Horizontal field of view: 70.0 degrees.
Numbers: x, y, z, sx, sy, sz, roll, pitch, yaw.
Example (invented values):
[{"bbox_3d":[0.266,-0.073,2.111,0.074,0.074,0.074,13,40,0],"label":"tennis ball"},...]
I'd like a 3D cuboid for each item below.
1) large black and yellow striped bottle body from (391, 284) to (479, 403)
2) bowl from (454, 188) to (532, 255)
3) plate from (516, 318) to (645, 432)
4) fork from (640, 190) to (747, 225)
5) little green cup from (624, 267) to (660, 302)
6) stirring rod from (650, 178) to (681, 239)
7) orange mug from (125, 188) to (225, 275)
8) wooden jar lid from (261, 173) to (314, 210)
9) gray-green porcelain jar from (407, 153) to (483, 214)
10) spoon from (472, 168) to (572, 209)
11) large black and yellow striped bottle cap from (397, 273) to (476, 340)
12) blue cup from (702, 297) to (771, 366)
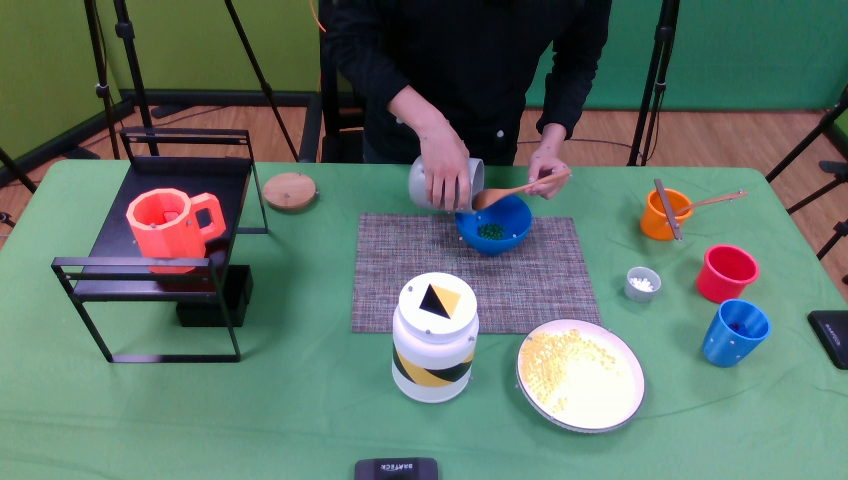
[{"bbox_3d":[0.015,0.153,0.938,0.131,0.185,0.130,2,46,-2],"label":"large black and yellow striped bottle body"},{"bbox_3d":[0.131,-0.025,1.186,0.151,0.077,0.150,2,46,-2],"label":"bowl"},{"bbox_3d":[0.253,0.221,0.992,0.209,0.038,0.208,2,46,-2],"label":"plate"},{"bbox_3d":[0.533,-0.065,1.211,0.207,0.019,0.028,-22,28,39],"label":"fork"},{"bbox_3d":[0.406,0.084,1.135,0.061,0.039,0.061,3,46,-3],"label":"little green cup"},{"bbox_3d":[0.479,-0.065,1.204,0.014,0.006,0.175,3,46,-4],"label":"stirring rod"},{"bbox_3d":[-0.357,-0.019,0.884,0.126,0.101,0.083,-29,54,-23],"label":"orange mug"},{"bbox_3d":[-0.286,-0.101,1.273,0.108,0.021,0.107,3,45,-3],"label":"wooden jar lid"},{"bbox_3d":[0.039,-0.108,1.139,0.126,0.106,0.105,9,46,15],"label":"gray-green porcelain jar"},{"bbox_3d":[0.179,-0.099,1.127,0.193,0.022,0.041,-16,54,12],"label":"spoon"},{"bbox_3d":[0.018,0.094,0.878,0.115,0.019,0.114,3,46,-3],"label":"large black and yellow striped bottle cap"},{"bbox_3d":[0.519,0.162,1.025,0.093,0.101,0.092,3,46,-3],"label":"blue cup"}]
